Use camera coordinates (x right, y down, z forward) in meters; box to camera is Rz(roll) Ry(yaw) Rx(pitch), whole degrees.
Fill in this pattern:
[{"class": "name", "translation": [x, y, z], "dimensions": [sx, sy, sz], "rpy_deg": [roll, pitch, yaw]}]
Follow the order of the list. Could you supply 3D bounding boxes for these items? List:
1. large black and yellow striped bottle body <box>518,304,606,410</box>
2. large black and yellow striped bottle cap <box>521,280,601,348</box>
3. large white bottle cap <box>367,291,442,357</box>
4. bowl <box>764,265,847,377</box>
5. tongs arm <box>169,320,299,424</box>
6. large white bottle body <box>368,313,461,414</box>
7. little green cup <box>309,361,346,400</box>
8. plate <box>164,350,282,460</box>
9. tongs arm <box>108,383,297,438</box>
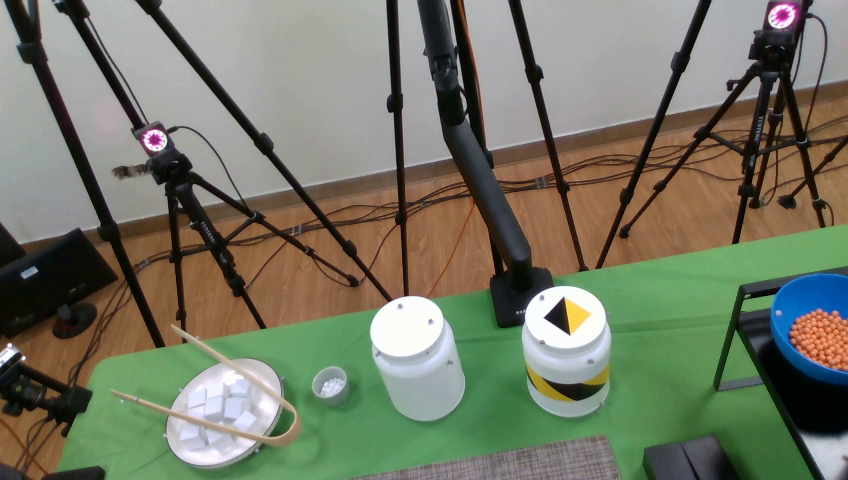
[{"class": "large black and yellow striped bottle body", "translation": [0.215, 0.165, 0.942], "dimensions": [0.130, 0.186, 0.129], "rpy_deg": [-7, 45, 8]}, {"class": "large black and yellow striped bottle cap", "translation": [0.199, 0.106, 0.884], "dimensions": [0.115, 0.019, 0.114], "rpy_deg": [-6, 46, 7]}, {"class": "large white bottle cap", "translation": [-0.031, 0.126, 0.920], "dimensions": [0.115, 0.018, 0.113], "rpy_deg": [-7, 46, 8]}, {"class": "bowl", "translation": [0.494, 0.112, 0.743], "dimensions": [0.151, 0.077, 0.150], "rpy_deg": [-7, 46, 7]}, {"class": "tongs arm", "translation": [-0.350, 0.225, 1.087], "dimensions": [0.384, 0.028, 0.028], "rpy_deg": [22, 49, 33]}, {"class": "large white bottle body", "translation": [-0.015, 0.183, 0.981], "dimensions": [0.130, 0.186, 0.129], "rpy_deg": [-7, 45, 8]}, {"class": "little green cup", "translation": [-0.167, 0.248, 1.061], "dimensions": [0.061, 0.039, 0.061], "rpy_deg": [-6, 47, 7]}, {"class": "plate", "translation": [-0.348, 0.290, 1.065], "dimensions": [0.207, 0.039, 0.205], "rpy_deg": [-7, 45, 7]}, {"class": "tongs arm", "translation": [-0.390, 0.281, 1.039], "dimensions": [0.382, 0.027, 0.050], "rpy_deg": [9, 46, 25]}]
